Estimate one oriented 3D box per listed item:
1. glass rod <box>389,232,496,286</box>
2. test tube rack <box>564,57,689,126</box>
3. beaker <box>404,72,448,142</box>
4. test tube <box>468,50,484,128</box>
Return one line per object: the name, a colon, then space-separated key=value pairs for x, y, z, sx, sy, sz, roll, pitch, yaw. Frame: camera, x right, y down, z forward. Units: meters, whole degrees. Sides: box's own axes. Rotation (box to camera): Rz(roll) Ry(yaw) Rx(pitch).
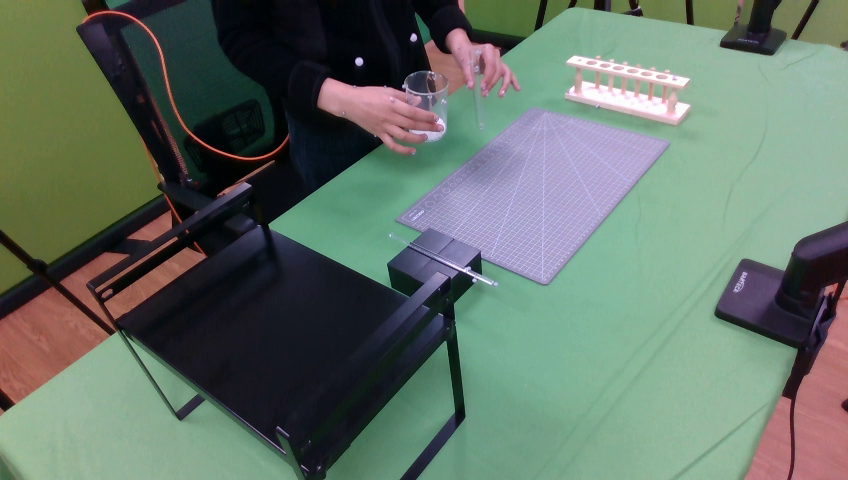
glass rod: x=0.022 y=0.025 z=0.878 sx=0.198 sy=0.008 sz=0.008 roll=25 pitch=50 yaw=33
test tube rack: x=0.411 y=-0.311 z=1.230 sx=0.240 sy=0.085 sz=0.067 roll=23 pitch=49 yaw=32
beaker: x=0.005 y=-0.226 z=1.031 sx=0.073 sy=0.100 sz=0.084 roll=15 pitch=47 yaw=15
test tube: x=0.094 y=-0.269 z=1.087 sx=0.017 sy=0.151 sz=0.017 roll=-7 pitch=41 yaw=6
